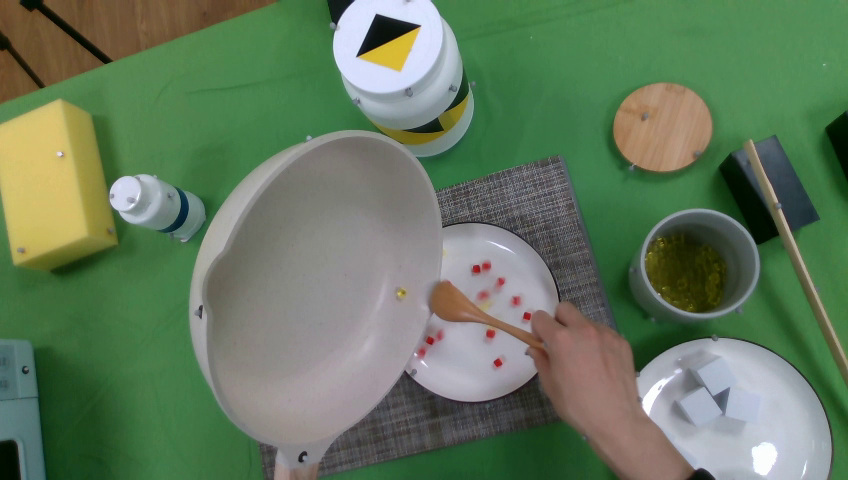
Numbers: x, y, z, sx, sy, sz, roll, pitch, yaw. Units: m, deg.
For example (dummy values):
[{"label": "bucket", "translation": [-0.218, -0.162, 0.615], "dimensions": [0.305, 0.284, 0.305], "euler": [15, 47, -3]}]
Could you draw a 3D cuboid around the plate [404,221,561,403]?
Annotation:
[{"label": "plate", "translation": [0.054, 0.082, 0.706], "dimensions": [0.209, 0.038, 0.208], "euler": [-2, 81, 12]}]

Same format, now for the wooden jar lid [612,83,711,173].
[{"label": "wooden jar lid", "translation": [0.276, -0.129, 0.709], "dimensions": [0.108, 0.021, 0.108], "euler": [-2, 82, 11]}]

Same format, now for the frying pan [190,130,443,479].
[{"label": "frying pan", "translation": [-0.106, 0.144, 0.561], "dimensions": [0.102, 0.309, 0.487], "euler": [6, 86, 35]}]

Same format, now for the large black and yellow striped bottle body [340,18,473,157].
[{"label": "large black and yellow striped bottle body", "translation": [-0.018, -0.184, 0.694], "dimensions": [0.130, 0.185, 0.130], "euler": [-2, 79, 11]}]

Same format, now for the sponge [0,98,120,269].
[{"label": "sponge", "translation": [-0.513, -0.076, 0.839], "dimensions": [0.118, 0.061, 0.206], "euler": [-21, 78, 7]}]

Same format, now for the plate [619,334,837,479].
[{"label": "plate", "translation": [0.312, 0.203, 0.638], "dimensions": [0.207, 0.039, 0.207], "euler": [-2, 80, 12]}]

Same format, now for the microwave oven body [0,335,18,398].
[{"label": "microwave oven body", "translation": [-0.658, 0.354, 0.691], "dimensions": [0.326, 0.261, 0.439], "euler": [-15, 78, 8]}]

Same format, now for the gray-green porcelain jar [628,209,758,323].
[{"label": "gray-green porcelain jar", "translation": [0.270, 0.032, 0.628], "dimensions": [0.105, 0.127, 0.105], "euler": [-2, 80, 12]}]

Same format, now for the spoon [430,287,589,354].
[{"label": "spoon", "translation": [0.081, 0.082, 0.619], "dimensions": [0.192, 0.022, 0.041], "euler": [13, 42, 44]}]

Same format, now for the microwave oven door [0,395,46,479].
[{"label": "microwave oven door", "translation": [-0.511, 0.355, 0.655], "dimensions": [0.039, 0.245, 0.354], "euler": [-16, 77, 9]}]

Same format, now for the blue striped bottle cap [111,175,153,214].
[{"label": "blue striped bottle cap", "translation": [-0.347, -0.054, 0.718], "dimensions": [0.044, 0.021, 0.044], "euler": [-2, 82, 11]}]

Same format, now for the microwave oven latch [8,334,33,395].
[{"label": "microwave oven latch", "translation": [-0.538, 0.164, 0.797], "dimensions": [0.030, 0.029, 0.079], "euler": [-12, 79, 9]}]

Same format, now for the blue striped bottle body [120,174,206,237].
[{"label": "blue striped bottle body", "translation": [-0.336, -0.045, 0.767], "dimensions": [0.063, 0.121, 0.063], "euler": [-2, 80, 12]}]

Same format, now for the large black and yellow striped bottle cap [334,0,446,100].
[{"label": "large black and yellow striped bottle cap", "translation": [-0.035, -0.199, 0.613], "dimensions": [0.115, 0.019, 0.114], "euler": [-2, 82, 11]}]

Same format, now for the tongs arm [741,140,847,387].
[{"label": "tongs arm", "translation": [0.417, 0.070, 0.609], "dimensions": [0.051, 0.026, 0.384], "euler": [-21, 87, 6]}]
